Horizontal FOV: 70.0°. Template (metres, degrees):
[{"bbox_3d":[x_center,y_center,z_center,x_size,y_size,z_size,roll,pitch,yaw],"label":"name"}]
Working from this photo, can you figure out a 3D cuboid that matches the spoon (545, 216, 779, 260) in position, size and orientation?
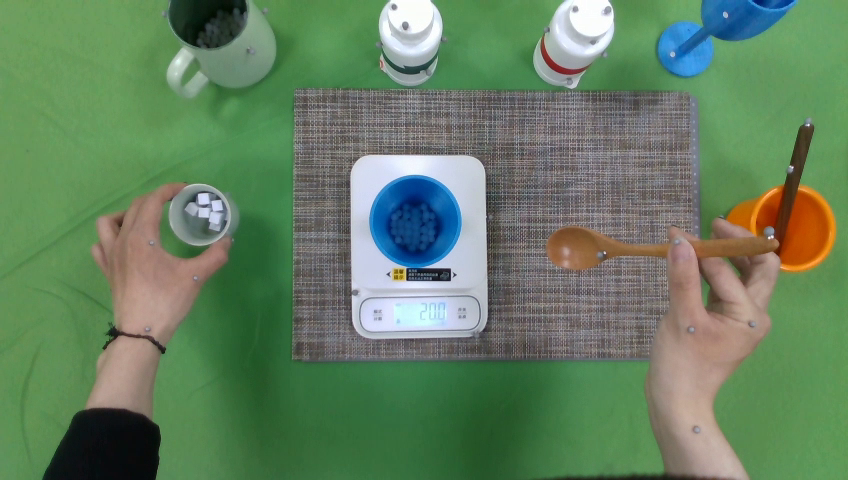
[{"bbox_3d":[0.171,-0.001,0.469,0.022,0.192,0.042,-24,104,-32],"label":"spoon"}]

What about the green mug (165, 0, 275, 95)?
[{"bbox_3d":[-0.218,-0.205,0.625,0.092,0.105,0.125,35,87,-1],"label":"green mug"}]

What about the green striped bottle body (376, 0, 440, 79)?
[{"bbox_3d":[-0.016,-0.215,0.626,0.063,0.119,0.063,0,88,-2],"label":"green striped bottle body"}]

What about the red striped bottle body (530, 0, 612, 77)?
[{"bbox_3d":[0.154,-0.218,0.633,0.063,0.119,0.063,0,87,-2],"label":"red striped bottle body"}]

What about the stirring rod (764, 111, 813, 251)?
[{"bbox_3d":[0.376,-0.055,0.628,0.014,0.005,0.178,-15,131,-2],"label":"stirring rod"}]

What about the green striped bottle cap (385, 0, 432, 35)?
[{"bbox_3d":[-0.015,-0.218,0.570,0.044,0.020,0.044,0,87,-2],"label":"green striped bottle cap"}]

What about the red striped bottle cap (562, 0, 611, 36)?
[{"bbox_3d":[0.156,-0.220,0.580,0.044,0.018,0.044,0,84,-2],"label":"red striped bottle cap"}]

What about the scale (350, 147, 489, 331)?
[{"bbox_3d":[-0.005,-0.001,0.659,0.149,0.031,0.200,-1,89,-2],"label":"scale"}]

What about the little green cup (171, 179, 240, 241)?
[{"bbox_3d":[-0.216,-0.029,0.608,0.061,0.038,0.061,0,92,3],"label":"little green cup"}]

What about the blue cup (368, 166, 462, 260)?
[{"bbox_3d":[-0.010,-0.023,0.595,0.093,0.100,0.092,0,89,-2],"label":"blue cup"}]

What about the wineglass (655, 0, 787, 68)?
[{"bbox_3d":[0.300,-0.235,0.613,0.074,0.172,0.073,0,87,-2],"label":"wineglass"}]
